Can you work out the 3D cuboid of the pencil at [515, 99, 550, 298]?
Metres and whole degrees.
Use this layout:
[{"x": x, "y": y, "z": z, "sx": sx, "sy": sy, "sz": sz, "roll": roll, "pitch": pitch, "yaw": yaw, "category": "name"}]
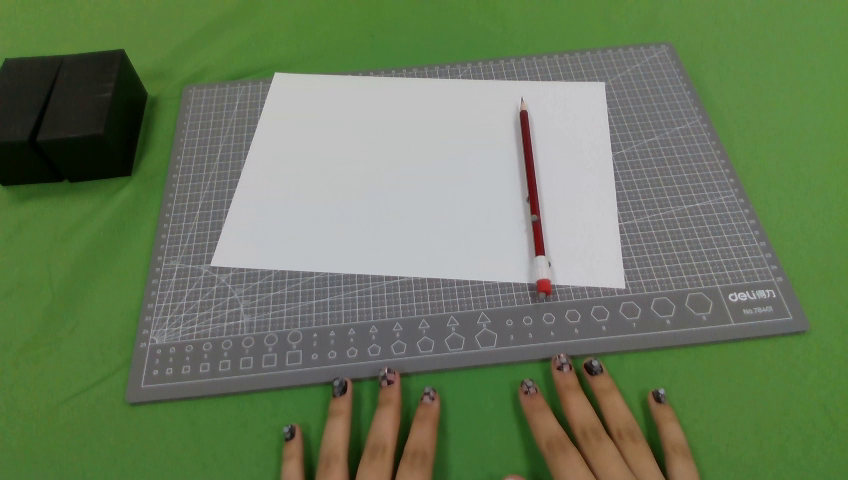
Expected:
[{"x": 0.081, "y": -0.041, "z": 0.468, "sx": 0.012, "sy": 0.012, "sz": 0.192, "roll": -1, "pitch": 56, "yaw": 1, "category": "pencil"}]
